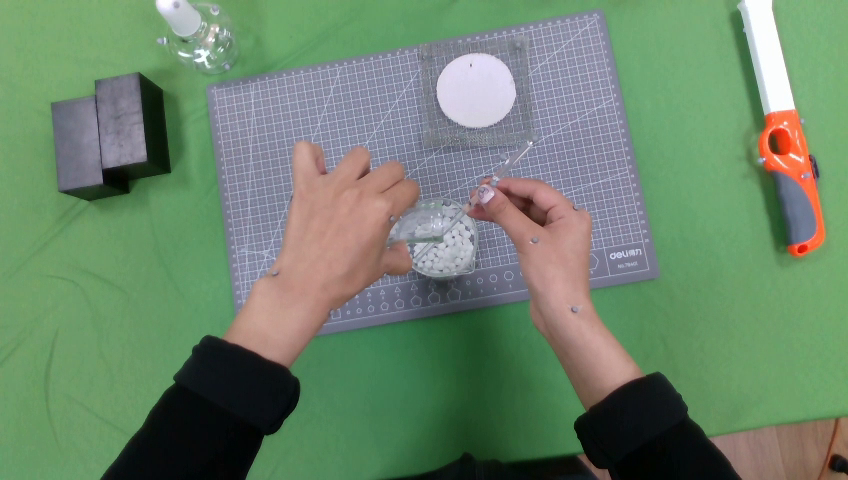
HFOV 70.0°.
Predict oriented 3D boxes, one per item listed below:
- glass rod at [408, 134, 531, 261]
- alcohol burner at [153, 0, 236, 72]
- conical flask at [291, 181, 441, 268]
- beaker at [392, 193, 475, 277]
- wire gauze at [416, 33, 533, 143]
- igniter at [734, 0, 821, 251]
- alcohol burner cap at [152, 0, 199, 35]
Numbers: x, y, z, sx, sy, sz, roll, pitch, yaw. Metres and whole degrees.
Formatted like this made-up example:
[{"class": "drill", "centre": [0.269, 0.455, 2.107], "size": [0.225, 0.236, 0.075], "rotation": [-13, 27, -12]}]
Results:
[{"class": "glass rod", "centre": [0.031, -0.029, 0.521], "size": [0.008, 0.200, 0.008], "rotation": [16, 54, -23]}, {"class": "alcohol burner", "centre": [-0.247, -0.225, 0.639], "size": [0.078, 0.119, 0.077], "rotation": [-1, 84, 6]}, {"class": "conical flask", "centre": [-0.047, -0.016, 0.519], "size": [0.122, 0.075, 0.075], "rotation": [-2, 83, 2]}, {"class": "beaker", "centre": [0.016, 0.002, 0.600], "size": [0.084, 0.100, 0.074], "rotation": [44, 89, 8]}, {"class": "wire gauze", "centre": [0.054, -0.165, 0.662], "size": [0.125, 0.011, 0.121], "rotation": [-2, 83, 1]}, {"class": "igniter", "centre": [0.366, -0.126, 0.629], "size": [0.057, 0.025, 0.275], "rotation": [-7, 83, -6]}, {"class": "alcohol burner cap", "centre": [-0.250, -0.232, 0.604], "size": [0.034, 0.048, 0.033], "rotation": [-1, 77, 4]}]
